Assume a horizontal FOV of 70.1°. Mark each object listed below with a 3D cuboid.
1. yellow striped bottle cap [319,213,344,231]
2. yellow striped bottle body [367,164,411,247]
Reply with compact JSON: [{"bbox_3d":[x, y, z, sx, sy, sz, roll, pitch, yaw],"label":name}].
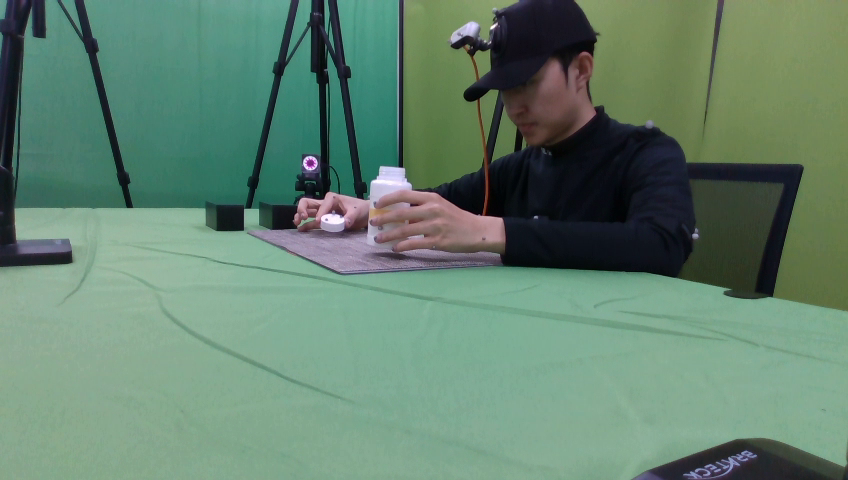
[{"bbox_3d":[-0.167,-0.033,1.098,0.044,0.018,0.044,7,25,-3],"label":"yellow striped bottle cap"},{"bbox_3d":[-0.052,-0.052,0.900,0.063,0.120,0.063,3,7,0],"label":"yellow striped bottle body"}]
